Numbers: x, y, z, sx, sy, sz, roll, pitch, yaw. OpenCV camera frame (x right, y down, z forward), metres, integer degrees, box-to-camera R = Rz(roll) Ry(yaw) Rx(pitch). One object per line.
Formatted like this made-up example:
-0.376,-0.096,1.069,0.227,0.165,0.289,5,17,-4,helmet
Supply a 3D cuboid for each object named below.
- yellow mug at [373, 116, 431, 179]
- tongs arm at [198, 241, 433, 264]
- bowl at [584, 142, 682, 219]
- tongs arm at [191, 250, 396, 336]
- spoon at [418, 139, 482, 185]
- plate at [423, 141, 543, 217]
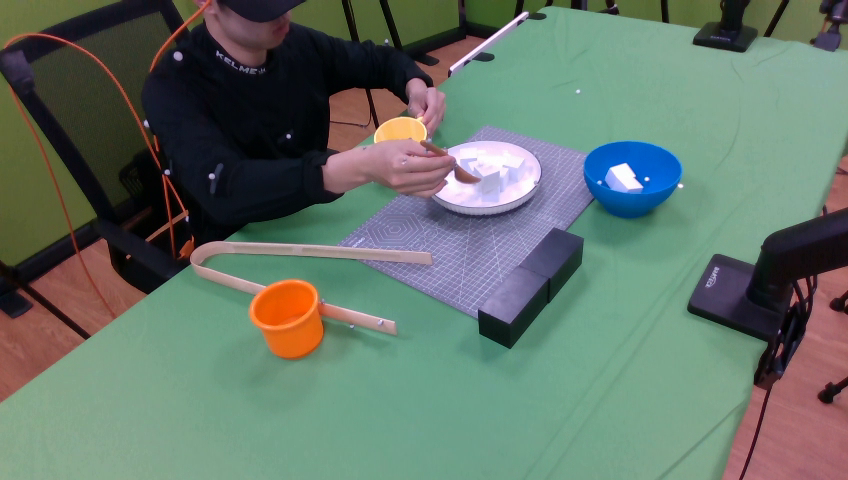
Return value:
-0.031,-0.184,1.135,0.099,0.064,0.131,26,61,25,yellow mug
-0.176,0.023,0.959,0.386,0.028,0.028,2,46,12,tongs arm
0.333,-0.087,0.980,0.151,0.077,0.150,-4,40,3,bowl
-0.203,0.074,0.902,0.382,0.026,0.051,11,45,22,tongs arm
0.037,-0.114,0.891,0.041,0.195,0.021,4,77,28,spoon
0.103,-0.103,1.059,0.207,0.039,0.206,-4,40,4,plate
